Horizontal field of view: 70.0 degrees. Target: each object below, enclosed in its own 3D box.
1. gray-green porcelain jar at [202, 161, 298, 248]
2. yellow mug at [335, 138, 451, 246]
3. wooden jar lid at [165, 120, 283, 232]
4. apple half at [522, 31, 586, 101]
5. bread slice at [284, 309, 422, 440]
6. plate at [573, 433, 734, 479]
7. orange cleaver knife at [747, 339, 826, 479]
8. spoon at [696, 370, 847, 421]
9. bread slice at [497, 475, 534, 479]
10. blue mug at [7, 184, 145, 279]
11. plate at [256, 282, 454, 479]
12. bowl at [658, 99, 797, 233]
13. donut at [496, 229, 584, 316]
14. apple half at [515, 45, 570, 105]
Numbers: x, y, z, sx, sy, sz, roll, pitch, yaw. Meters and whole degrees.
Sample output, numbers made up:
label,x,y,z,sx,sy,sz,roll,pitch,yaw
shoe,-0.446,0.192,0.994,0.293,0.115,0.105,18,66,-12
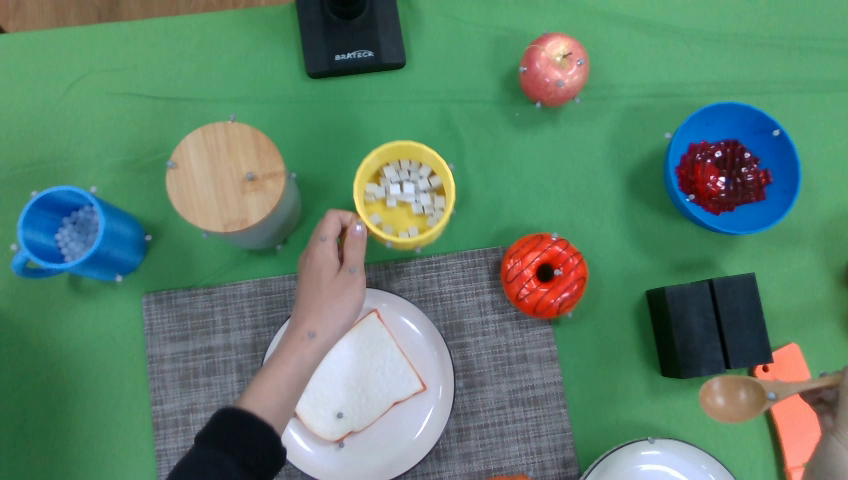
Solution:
label,x,y,z,sx,sy,sz,roll,pitch,yaw
gray-green porcelain jar,-0.191,-0.049,0.635,0.106,0.127,0.105,1,81,-3
yellow mug,-0.036,-0.037,0.614,0.131,0.064,0.100,-37,86,-5
wooden jar lid,-0.188,-0.059,0.574,0.108,0.021,0.108,1,79,-3
apple half,0.157,-0.206,0.708,0.053,0.075,0.080,-40,81,-14
bread slice,-0.082,0.153,0.654,0.131,0.019,0.104,-34,84,-9
plate,0.246,0.313,0.653,0.209,0.038,0.208,1,81,-4
orange cleaver knife,0.421,0.221,0.689,0.077,0.012,0.210,-6,80,-11
spoon,0.326,0.116,0.494,0.193,0.022,0.041,-17,58,23
bread slice,0.079,0.305,0.617,0.135,0.018,0.106,-13,79,-26
blue mug,-0.365,0.004,0.626,0.116,0.106,0.082,-33,84,-8
plate,-0.072,0.151,0.654,0.208,0.039,0.207,1,81,-3
bowl,0.333,-0.076,0.697,0.151,0.077,0.151,1,81,-3
donut,0.130,0.036,0.681,0.099,0.048,0.098,1,82,-3
apple half,0.128,-0.181,0.701,0.033,0.081,0.081,-41,85,-13
